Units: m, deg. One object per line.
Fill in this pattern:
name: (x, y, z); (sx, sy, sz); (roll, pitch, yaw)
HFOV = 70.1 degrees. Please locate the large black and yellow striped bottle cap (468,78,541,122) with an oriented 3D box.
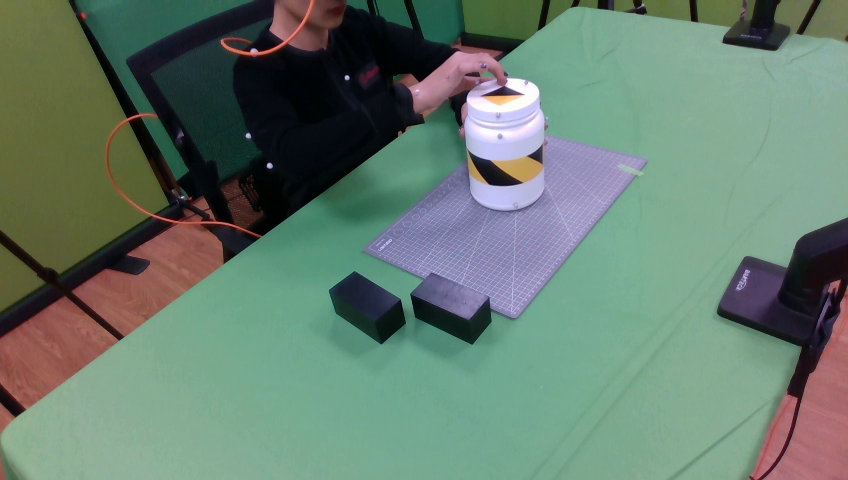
large black and yellow striped bottle cap: (0.126, -0.223, 0.956); (0.115, 0.019, 0.114); (-6, 40, 5)

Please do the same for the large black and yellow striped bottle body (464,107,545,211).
large black and yellow striped bottle body: (0.136, -0.156, 1.011); (0.131, 0.185, 0.130); (-5, 40, 5)
